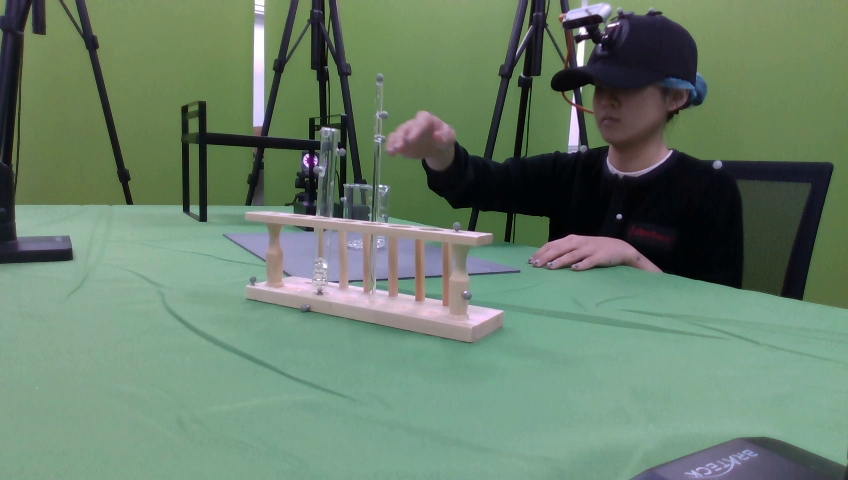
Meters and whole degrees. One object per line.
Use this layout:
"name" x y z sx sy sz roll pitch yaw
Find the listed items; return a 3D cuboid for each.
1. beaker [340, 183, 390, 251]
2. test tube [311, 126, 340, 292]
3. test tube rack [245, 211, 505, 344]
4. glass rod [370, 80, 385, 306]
"beaker" -0.090 -0.036 0.944 0.083 0.100 0.074 10 10 41
"test tube" -0.090 -0.027 0.546 0.017 0.150 0.017 6 8 0
"test tube rack" -0.049 0.025 0.547 0.241 0.085 0.067 7 8 29
"glass rod" -0.040 -0.039 0.530 0.008 0.199 0.008 2 2 0
